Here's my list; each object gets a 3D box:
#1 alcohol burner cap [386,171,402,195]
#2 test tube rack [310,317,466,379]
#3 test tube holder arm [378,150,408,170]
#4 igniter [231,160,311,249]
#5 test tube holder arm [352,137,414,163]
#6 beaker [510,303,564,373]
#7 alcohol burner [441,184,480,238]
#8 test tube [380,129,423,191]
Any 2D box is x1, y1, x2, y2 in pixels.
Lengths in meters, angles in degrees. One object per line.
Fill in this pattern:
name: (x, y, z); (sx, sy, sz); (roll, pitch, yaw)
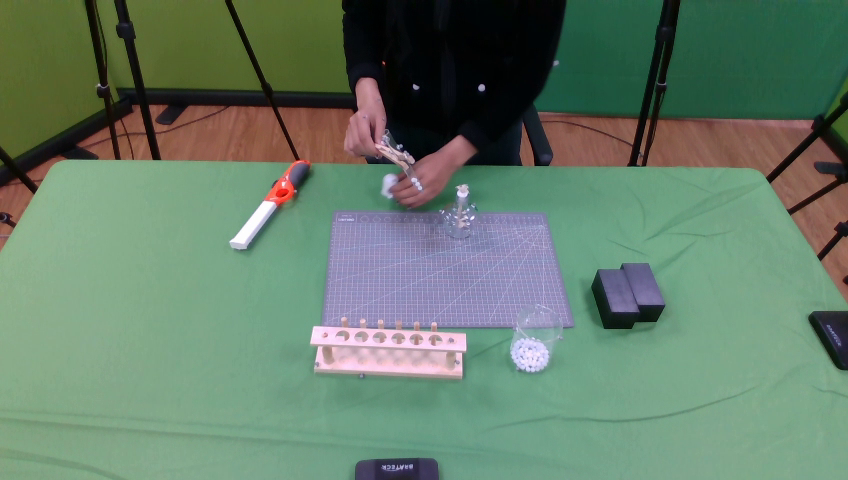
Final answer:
alcohol burner cap: (-0.061, -0.122, 1.261); (0.034, 0.048, 0.033); (6, 44, -6)
test tube rack: (-0.056, 0.171, 0.986); (0.242, 0.085, 0.066); (3, 45, -1)
test tube holder arm: (-0.055, -0.145, 1.069); (0.010, 0.015, 0.087); (-43, 41, -8)
igniter: (-0.311, -0.081, 1.250); (0.057, 0.025, 0.275); (9, 45, 18)
test tube holder arm: (-0.078, -0.164, 1.103); (0.013, 0.015, 0.177); (-48, 42, -14)
beaker: (0.182, 0.164, 1.000); (0.074, 0.101, 0.083); (2, 46, -1)
alcohol burner: (0.073, -0.061, 1.195); (0.078, 0.120, 0.077); (1, 47, -1)
test tube: (-0.037, -0.137, 1.056); (0.017, 0.151, 0.017); (-15, 49, 18)
